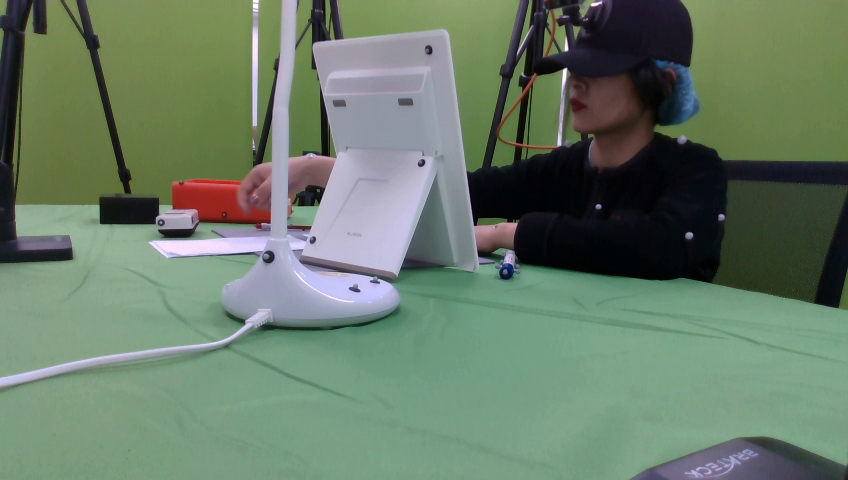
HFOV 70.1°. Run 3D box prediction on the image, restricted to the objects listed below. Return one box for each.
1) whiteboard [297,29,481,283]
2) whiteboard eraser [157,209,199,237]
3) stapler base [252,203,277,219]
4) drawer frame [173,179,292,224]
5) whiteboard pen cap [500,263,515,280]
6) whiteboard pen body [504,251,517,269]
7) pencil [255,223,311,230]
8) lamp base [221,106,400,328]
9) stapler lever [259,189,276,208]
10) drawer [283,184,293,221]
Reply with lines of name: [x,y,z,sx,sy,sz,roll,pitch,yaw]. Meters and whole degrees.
whiteboard: [-0.075,-0.082,0.741,0.216,0.305,0.144,9,29,37]
whiteboard eraser: [-0.411,-0.029,1.016,0.056,0.042,0.112,2,7,-16]
stapler base: [-0.341,-0.065,1.301,0.041,0.024,0.130,15,4,-10]
drawer frame: [-0.400,-0.086,1.300,0.214,0.082,0.201,1,8,-8]
whiteboard pen cap: [0.105,0.038,0.758,0.018,0.018,0.033,4,10,10]
whiteboard pen body: [0.116,0.031,0.815,0.017,0.017,0.141,4,8,9]
pencil: [-0.216,-0.023,1.134,0.195,0.012,0.012,1,7,-21]
lamp base: [-0.101,-0.023,0.531,0.160,0.180,0.179,4,10,10]
stapler lever: [-0.335,-0.090,1.300,0.027,0.040,0.118,15,4,-10]
drawer: [-0.396,-0.085,1.301,0.212,0.073,0.194,1,8,-7]
